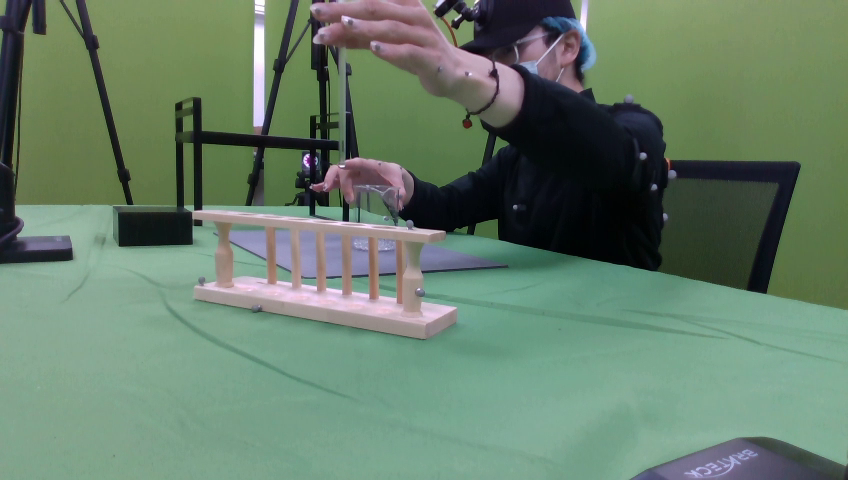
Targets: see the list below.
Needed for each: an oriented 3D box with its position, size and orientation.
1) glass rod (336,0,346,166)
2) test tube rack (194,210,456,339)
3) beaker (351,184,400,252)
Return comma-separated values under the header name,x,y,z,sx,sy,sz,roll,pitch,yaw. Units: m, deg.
name,x,y,z,sx,sy,sz,roll,pitch,yaw
glass rod,-0.080,-0.171,0.581,0.008,0.199,0.008,1,2,0
test tube rack,-0.093,0.023,0.546,0.241,0.085,0.067,6,8,25
beaker,-0.074,-0.034,0.929,0.074,0.100,0.083,0,8,-17
